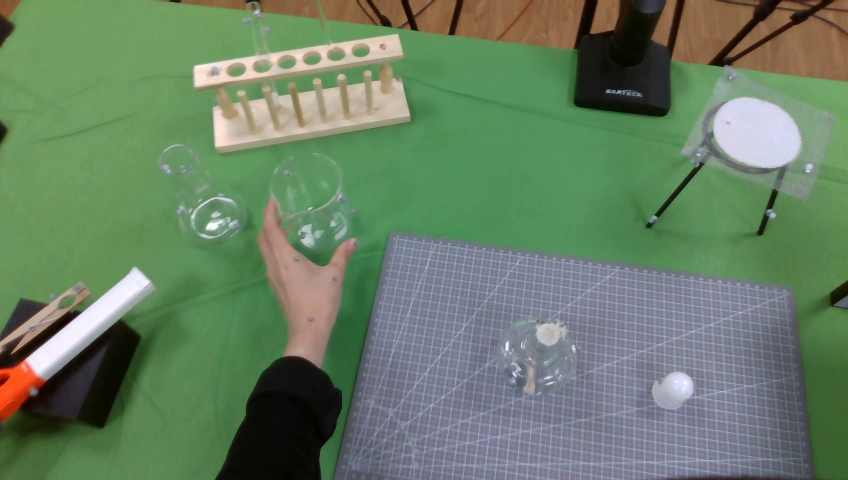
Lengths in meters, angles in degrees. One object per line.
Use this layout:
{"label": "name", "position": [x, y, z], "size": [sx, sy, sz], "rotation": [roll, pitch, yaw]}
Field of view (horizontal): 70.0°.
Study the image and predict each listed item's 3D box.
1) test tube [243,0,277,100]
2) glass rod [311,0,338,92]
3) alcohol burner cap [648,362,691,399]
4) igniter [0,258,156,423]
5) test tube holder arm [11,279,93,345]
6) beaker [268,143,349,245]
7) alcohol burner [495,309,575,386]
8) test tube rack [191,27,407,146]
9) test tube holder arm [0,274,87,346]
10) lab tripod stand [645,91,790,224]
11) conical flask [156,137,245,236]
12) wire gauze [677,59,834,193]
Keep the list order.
{"label": "test tube", "position": [-0.188, -0.216, 0.701], "size": [0.017, 0.151, 0.017], "rotation": [2, 60, -3]}
{"label": "glass rod", "position": [-0.119, -0.245, 0.696], "size": [0.008, 0.201, 0.008], "rotation": [-3, 56, 5]}
{"label": "alcohol burner cap", "position": [0.244, 0.136, 0.597], "size": [0.034, 0.048, 0.033], "rotation": [0, 63, 0]}
{"label": "igniter", "position": [-0.375, 0.120, 0.569], "size": [0.057, 0.025, 0.276], "rotation": [34, 68, 26]}
{"label": "test tube holder arm", "position": [-0.368, 0.070, 0.596], "size": [0.088, 0.015, 0.010], "rotation": [-41, 100, -18]}
{"label": "beaker", "position": [-0.123, -0.043, 0.661], "size": [0.074, 0.101, 0.083], "rotation": [22, 66, 12]}
{"label": "alcohol burner", "position": [0.109, 0.097, 0.578], "size": [0.078, 0.120, 0.077], "rotation": [1, 62, -1]}
{"label": "test tube rack", "position": [-0.147, -0.186, 0.741], "size": [0.242, 0.086, 0.066], "rotation": [-11, 63, -5]}
{"label": "test tube holder arm", "position": [-0.403, 0.095, 0.581], "size": [0.178, 0.015, 0.013], "rotation": [-42, 101, -18]}
{"label": "lab tripod stand", "position": [0.324, -0.083, 0.658], "size": [0.148, 0.132, 0.147], "rotation": [1, 62, -1]}
{"label": "conical flask", "position": [-0.248, -0.062, 0.659], "size": [0.075, 0.123, 0.074], "rotation": [0, 63, 1]}
{"label": "wire gauze", "position": [0.330, -0.114, 0.598], "size": [0.121, 0.011, 0.124], "rotation": [28, 68, 12]}
